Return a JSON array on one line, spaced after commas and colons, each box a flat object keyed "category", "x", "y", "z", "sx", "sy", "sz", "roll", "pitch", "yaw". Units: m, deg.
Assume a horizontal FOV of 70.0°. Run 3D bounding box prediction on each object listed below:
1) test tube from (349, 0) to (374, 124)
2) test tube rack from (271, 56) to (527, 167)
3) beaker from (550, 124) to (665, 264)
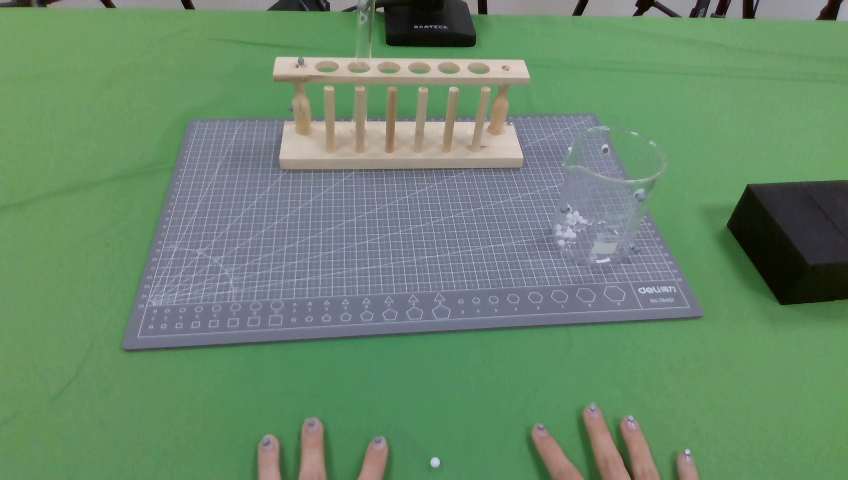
[{"category": "test tube", "x": -0.060, "y": -0.173, "z": 0.574, "sx": 0.017, "sy": 0.151, "sz": 0.017, "roll": 6, "pitch": 43, "yaw": -5}, {"category": "test tube rack", "x": -0.023, "y": -0.126, "z": 0.600, "sx": 0.243, "sy": 0.086, "sz": 0.066, "roll": -1, "pitch": 45, "yaw": -6}, {"category": "beaker", "x": 0.147, "y": -0.035, "z": 0.512, "sx": 0.084, "sy": 0.101, "sz": 0.073, "roll": -8, "pitch": 45, "yaw": -11}]
